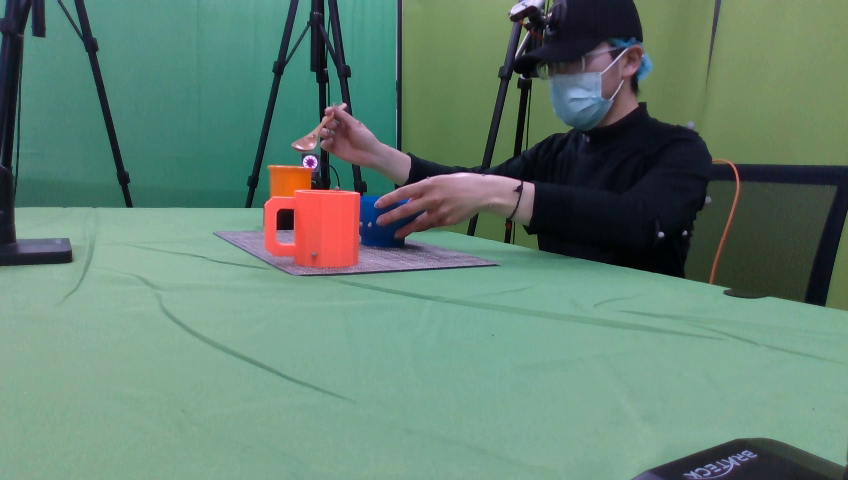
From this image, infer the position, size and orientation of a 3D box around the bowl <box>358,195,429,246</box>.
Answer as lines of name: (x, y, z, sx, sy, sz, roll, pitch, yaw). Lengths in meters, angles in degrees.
bowl: (-0.069, -0.034, 1.017, 0.151, 0.077, 0.151, 2, 7, 0)

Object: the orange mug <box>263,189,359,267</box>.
orange mug: (-0.147, -0.019, 0.795, 0.127, 0.100, 0.083, 5, 6, -19)

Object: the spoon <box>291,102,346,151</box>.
spoon: (-0.199, -0.225, 1.187, 0.041, 0.021, 0.194, 22, 48, 10)
